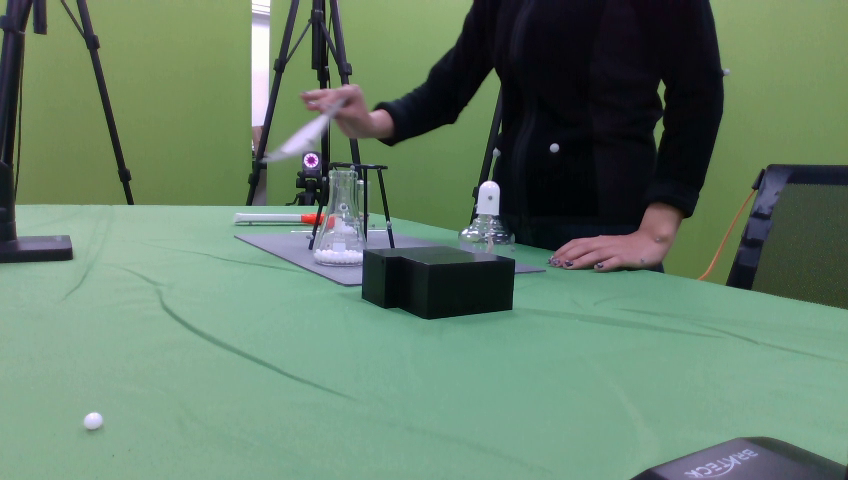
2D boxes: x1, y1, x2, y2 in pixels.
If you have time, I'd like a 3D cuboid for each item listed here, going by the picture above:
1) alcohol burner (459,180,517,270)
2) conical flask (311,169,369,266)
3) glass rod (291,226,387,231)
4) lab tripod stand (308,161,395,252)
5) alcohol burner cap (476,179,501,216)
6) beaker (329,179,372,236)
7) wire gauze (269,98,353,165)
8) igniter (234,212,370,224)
[{"bbox_3d":[0.086,-0.021,0.806,0.078,0.119,0.078,3,9,0],"label":"alcohol burner"},{"bbox_3d":[-0.107,-0.031,0.786,0.075,0.122,0.075,2,8,0],"label":"conical flask"},{"bbox_3d":[-0.161,-0.023,1.177,0.201,0.008,0.008,-2,8,-28],"label":"glass rod"},{"bbox_3d":[-0.098,-0.053,0.919,0.148,0.131,0.148,4,7,0],"label":"lab tripod stand"},{"bbox_3d":[0.086,-0.056,0.801,0.034,0.048,0.034,4,2,0],"label":"alcohol burner cap"},{"bbox_3d":[-0.137,-0.061,1.101,0.084,0.100,0.074,4,7,20],"label":"beaker"},{"bbox_3d":[-0.170,-0.161,0.916,0.124,0.011,0.121,-11,38,44],"label":"wire gauze"},{"bbox_3d":[-0.247,-0.046,1.253,0.278,0.025,0.057,-1,-3,-27],"label":"igniter"}]
